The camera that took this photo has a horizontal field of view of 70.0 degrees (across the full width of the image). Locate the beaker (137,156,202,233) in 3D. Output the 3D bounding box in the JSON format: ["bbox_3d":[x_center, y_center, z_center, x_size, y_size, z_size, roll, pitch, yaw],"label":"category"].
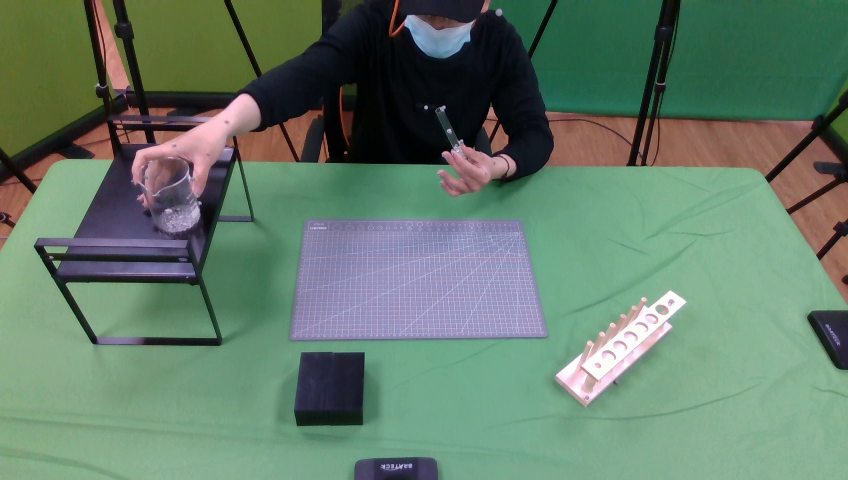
[{"bbox_3d":[-0.386,-0.065,0.925,0.074,0.101,0.083,3,47,-1],"label":"beaker"}]

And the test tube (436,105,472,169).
[{"bbox_3d":[0.057,-0.186,1.106,0.017,0.151,0.017,-16,45,17],"label":"test tube"}]

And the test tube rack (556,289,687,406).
[{"bbox_3d":[0.332,0.166,1.014,0.242,0.085,0.066,-30,55,-28],"label":"test tube rack"}]
